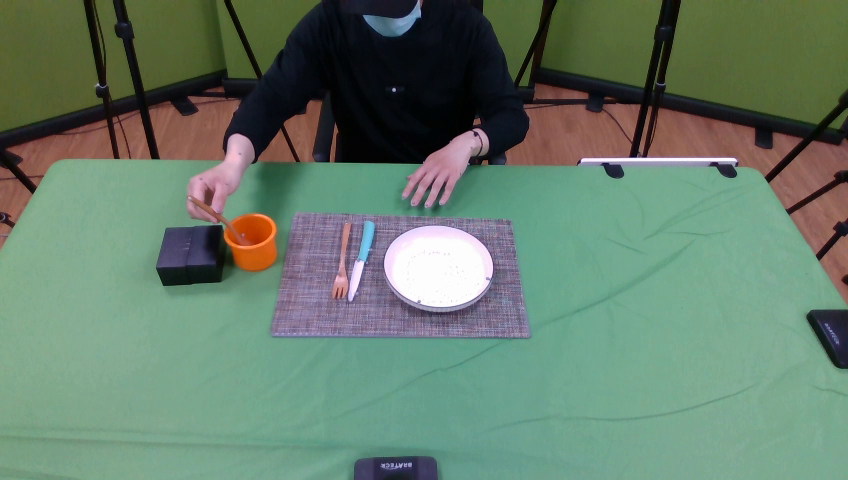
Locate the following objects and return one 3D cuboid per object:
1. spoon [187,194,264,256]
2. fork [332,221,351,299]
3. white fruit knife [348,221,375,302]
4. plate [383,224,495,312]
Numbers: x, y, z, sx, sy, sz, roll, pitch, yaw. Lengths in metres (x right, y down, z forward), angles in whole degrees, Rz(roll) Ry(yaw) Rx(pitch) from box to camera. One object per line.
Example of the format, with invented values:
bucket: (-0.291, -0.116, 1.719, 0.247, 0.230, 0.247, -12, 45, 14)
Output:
spoon: (-0.348, -0.026, 1.072, 0.021, 0.195, 0.041, -35, 49, 0)
fork: (-0.153, 0.034, 1.149, 0.028, 0.019, 0.206, -7, 47, 6)
white fruit knife: (-0.119, 0.037, 1.153, 0.027, 0.016, 0.206, -16, 42, 25)
plate: (0.026, 0.055, 1.128, 0.209, 0.038, 0.208, 2, 46, -2)
